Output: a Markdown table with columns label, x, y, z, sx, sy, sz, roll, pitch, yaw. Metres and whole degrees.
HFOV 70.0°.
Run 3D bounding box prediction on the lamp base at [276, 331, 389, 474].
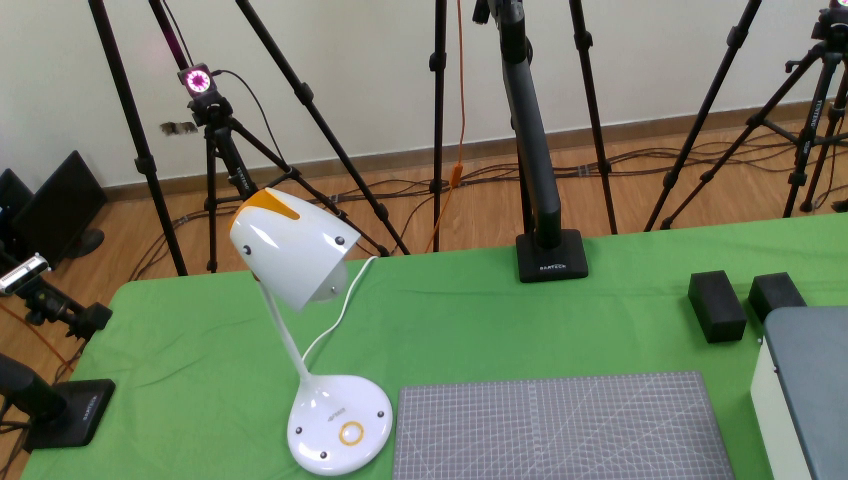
| label | x | y | z | sx | sy | sz | roll | pitch | yaw |
| --- | --- | --- | --- | --- | --- | --- | --- | --- | --- |
| lamp base | -0.154 | 0.217 | 0.867 | 0.177 | 0.182 | 0.160 | 25 | 55 | 36 |

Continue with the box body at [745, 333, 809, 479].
| label | x | y | z | sx | sy | sz | roll | pitch | yaw |
| --- | --- | --- | --- | --- | --- | --- | --- | --- | --- |
| box body | 0.538 | 0.259 | 0.672 | 0.254 | 0.162 | 0.360 | -3 | 44 | 11 |

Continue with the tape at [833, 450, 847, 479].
| label | x | y | z | sx | sy | sz | roll | pitch | yaw |
| --- | --- | --- | --- | --- | --- | --- | --- | --- | --- |
| tape | 0.552 | 0.287 | 0.712 | 0.117 | 0.053 | 0.115 | -6 | 44 | 6 |

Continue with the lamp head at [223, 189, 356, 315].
| label | x | y | z | sx | sy | sz | roll | pitch | yaw |
| --- | --- | --- | --- | --- | --- | --- | --- | --- | --- |
| lamp head | -0.152 | 0.005 | 0.654 | 0.123 | 0.113 | 0.112 | 35 | 54 | -1 |

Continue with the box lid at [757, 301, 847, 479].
| label | x | y | z | sx | sy | sz | roll | pitch | yaw |
| --- | --- | --- | --- | --- | --- | --- | --- | --- | --- |
| box lid | 0.526 | 0.205 | 0.623 | 0.263 | 0.015 | 0.368 | -3 | 44 | 11 |
